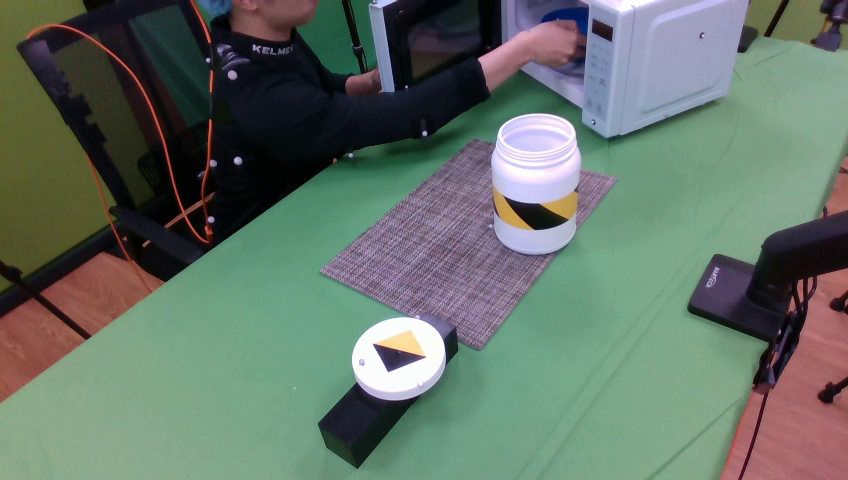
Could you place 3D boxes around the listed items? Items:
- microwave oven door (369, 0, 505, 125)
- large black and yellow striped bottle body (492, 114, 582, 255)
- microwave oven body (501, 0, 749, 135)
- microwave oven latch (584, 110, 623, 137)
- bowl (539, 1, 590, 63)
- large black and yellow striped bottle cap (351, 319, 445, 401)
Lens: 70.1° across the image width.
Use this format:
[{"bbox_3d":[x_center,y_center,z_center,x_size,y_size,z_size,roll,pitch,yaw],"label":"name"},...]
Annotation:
[{"bbox_3d":[0.042,-0.424,1.263,0.039,0.245,0.357,28,52,34],"label":"microwave oven door"},{"bbox_3d":[0.169,-0.083,0.912,0.131,0.185,0.130,-4,41,4],"label":"large black and yellow striped bottle body"},{"bbox_3d":[0.382,-0.444,1.246,0.327,0.261,0.437,-22,42,-16],"label":"microwave oven body"},{"bbox_3d":[0.337,-0.222,1.142,0.030,0.029,0.078,-21,42,-14],"label":"microwave oven latch"},{"bbox_3d":[0.324,-0.428,1.273,0.151,0.077,0.150,-13,43,13],"label":"bowl"},{"bbox_3d":[-0.031,0.143,0.734,0.115,0.019,0.114,-3,40,3],"label":"large black and yellow striped bottle cap"}]
